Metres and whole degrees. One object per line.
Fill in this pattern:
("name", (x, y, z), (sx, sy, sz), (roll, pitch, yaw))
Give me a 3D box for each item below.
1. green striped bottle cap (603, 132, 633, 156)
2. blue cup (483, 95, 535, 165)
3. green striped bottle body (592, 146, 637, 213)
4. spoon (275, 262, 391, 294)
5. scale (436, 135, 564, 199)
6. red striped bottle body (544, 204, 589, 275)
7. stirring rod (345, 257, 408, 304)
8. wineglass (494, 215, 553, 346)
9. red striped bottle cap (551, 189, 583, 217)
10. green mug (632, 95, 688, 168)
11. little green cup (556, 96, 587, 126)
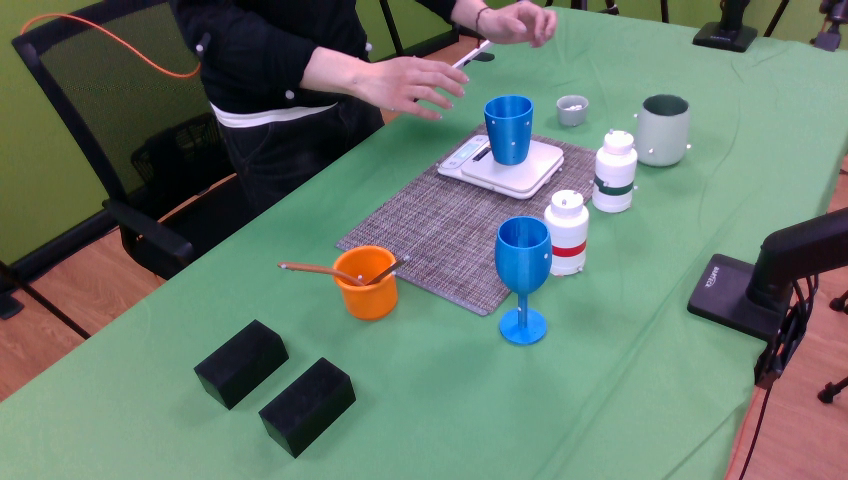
("green striped bottle cap", (0.302, -0.149, 0.939), (0.044, 0.020, 0.044), (-3, 40, 3))
("blue cup", (0.149, -0.188, 1.053), (0.092, 0.100, 0.092), (-6, 39, 5))
("green striped bottle body", (0.307, -0.108, 0.976), (0.063, 0.120, 0.063), (-4, 41, 4))
("spoon", (-0.120, 0.050, 0.830), (0.041, 0.195, 0.021), (32, 97, 45))
("scale", (0.137, -0.142, 1.101), (0.199, 0.032, 0.149), (22, 48, 30))
("red striped bottle body", (0.206, -0.011, 0.877), (0.063, 0.120, 0.062), (-5, 41, 4))
("stirring rod", (-0.067, 0.057, 0.815), (0.014, 0.175, 0.006), (-25, 82, -38))
("wineglass", (0.127, 0.055, 0.770), (0.074, 0.173, 0.073), (-4, 40, 4))
("red striped bottle cap", (0.200, -0.052, 0.843), (0.044, 0.018, 0.044), (-2, 42, 2))
("green mug", (0.421, -0.201, 1.081), (0.092, 0.105, 0.125), (5, 42, 15))
("little green cup", (0.295, -0.258, 1.214), (0.061, 0.039, 0.061), (-4, 42, 4))
